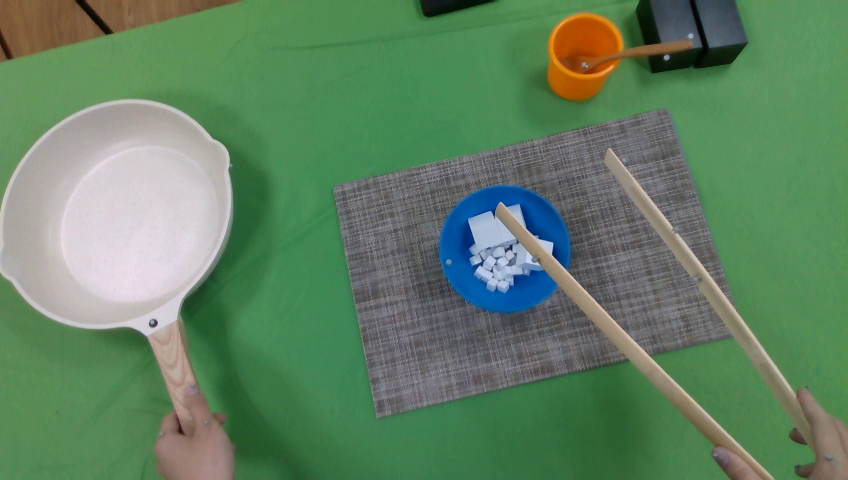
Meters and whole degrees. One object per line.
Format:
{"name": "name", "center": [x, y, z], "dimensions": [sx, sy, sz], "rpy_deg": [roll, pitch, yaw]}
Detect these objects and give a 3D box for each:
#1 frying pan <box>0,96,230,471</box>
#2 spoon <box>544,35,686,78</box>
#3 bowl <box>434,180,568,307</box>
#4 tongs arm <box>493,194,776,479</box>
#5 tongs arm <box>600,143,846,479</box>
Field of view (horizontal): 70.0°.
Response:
{"name": "frying pan", "center": [-0.335, 0.048, 0.729], "dimensions": [0.307, 0.103, 0.483], "rpy_deg": [-28, 68, -2]}
{"name": "spoon", "center": [0.226, -0.227, 0.740], "dimensions": [0.022, 0.192, 0.041], "rpy_deg": [34, 73, -33]}
{"name": "bowl", "center": [0.090, 0.011, 0.723], "dimensions": [0.151, 0.077, 0.150], "rpy_deg": [-1, 77, 3]}
{"name": "tongs arm", "center": [0.195, 0.091, 0.556], "dimensions": [0.028, 0.028, 0.384], "rpy_deg": [-32, 67, -25]}
{"name": "tongs arm", "center": [0.262, 0.059, 0.579], "dimensions": [0.051, 0.027, 0.381], "rpy_deg": [-21, 64, -17]}
